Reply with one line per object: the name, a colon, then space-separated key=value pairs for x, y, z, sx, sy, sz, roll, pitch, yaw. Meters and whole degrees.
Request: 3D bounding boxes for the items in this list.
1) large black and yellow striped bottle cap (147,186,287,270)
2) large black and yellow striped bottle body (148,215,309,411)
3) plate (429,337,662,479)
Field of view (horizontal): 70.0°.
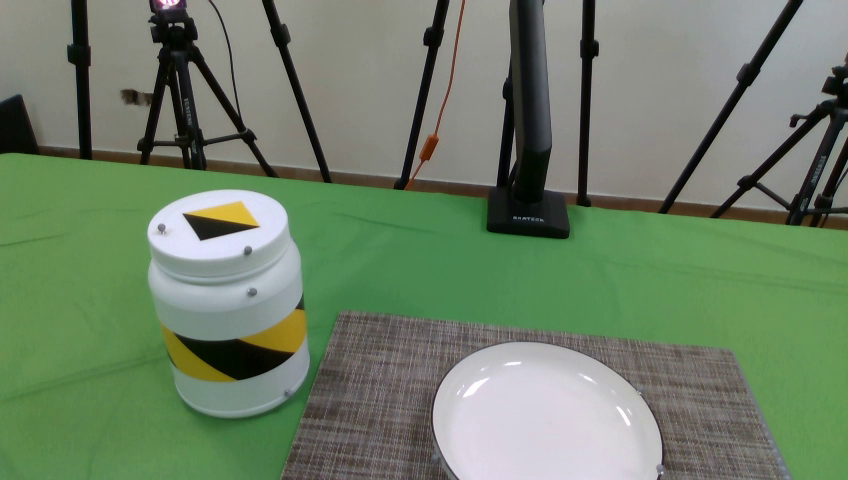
large black and yellow striped bottle cap: x=-0.178 y=-0.014 z=0.526 sx=0.115 sy=0.019 sz=0.114 roll=4 pitch=33 yaw=-2
large black and yellow striped bottle body: x=-0.181 y=0.056 z=0.575 sx=0.131 sy=0.185 sz=0.129 roll=2 pitch=35 yaw=-1
plate: x=0.107 y=0.173 z=0.554 sx=0.208 sy=0.039 sz=0.205 roll=3 pitch=34 yaw=-1
